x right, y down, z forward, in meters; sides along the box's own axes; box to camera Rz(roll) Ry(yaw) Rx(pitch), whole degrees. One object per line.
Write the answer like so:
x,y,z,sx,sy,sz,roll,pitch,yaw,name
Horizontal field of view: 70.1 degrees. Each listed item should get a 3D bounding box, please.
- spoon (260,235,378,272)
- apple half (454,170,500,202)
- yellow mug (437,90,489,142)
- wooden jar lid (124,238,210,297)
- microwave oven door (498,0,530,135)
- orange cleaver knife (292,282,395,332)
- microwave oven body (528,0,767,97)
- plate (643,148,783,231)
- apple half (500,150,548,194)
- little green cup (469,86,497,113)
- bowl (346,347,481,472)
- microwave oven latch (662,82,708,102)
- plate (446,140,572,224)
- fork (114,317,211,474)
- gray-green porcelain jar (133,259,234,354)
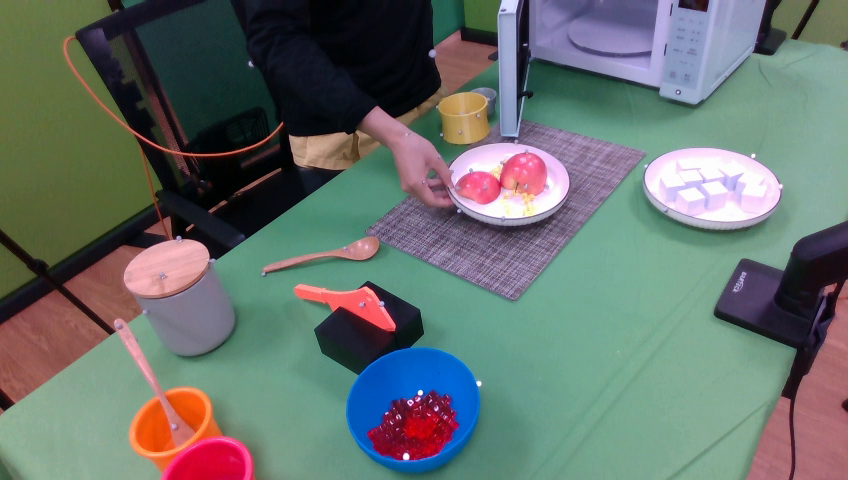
-0.168,0.024,0.966,0.194,0.022,0.041,-10,60,-3,spoon
0.092,-0.100,1.011,0.081,0.033,0.081,4,43,-3,apple half
0.070,-0.257,1.225,0.100,0.064,0.129,-32,44,-26,yellow mug
-0.335,0.039,0.794,0.108,0.021,0.108,-2,40,2,wooden jar lid
0.185,-0.411,1.225,0.039,0.245,0.355,3,42,12,microwave oven door
-0.116,0.091,0.835,0.209,0.077,0.012,2,32,48,orange cleaver knife
0.473,-0.516,1.314,0.438,0.261,0.327,26,52,34,microwave oven body
0.464,-0.080,0.986,0.207,0.039,0.206,-4,41,4,plate
0.171,-0.121,1.017,0.080,0.053,0.075,24,47,26,apple half
0.124,-0.297,1.285,0.061,0.039,0.061,-3,42,4,little green cup
-0.008,0.205,0.691,0.151,0.077,0.150,-4,40,4,bowl
0.517,-0.298,1.202,0.078,0.029,0.030,26,52,34,microwave oven latch
0.140,-0.094,1.012,0.209,0.038,0.208,-1,44,1,plate
-0.309,0.179,0.708,0.028,0.018,0.207,-30,89,-25,fork
-0.328,0.087,0.836,0.106,0.127,0.105,-4,41,4,gray-green porcelain jar
